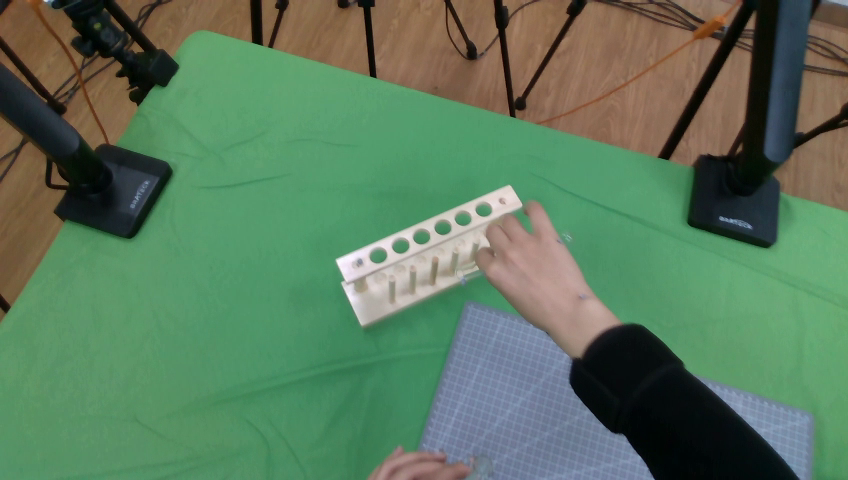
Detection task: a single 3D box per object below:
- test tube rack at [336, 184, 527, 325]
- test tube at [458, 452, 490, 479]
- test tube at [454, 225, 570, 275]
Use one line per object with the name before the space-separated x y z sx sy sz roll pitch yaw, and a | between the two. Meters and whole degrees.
test tube rack | 0.017 0.019 0.771 0.242 0.086 0.066 -23 68 -13
test tube | 0.039 0.210 0.531 0.017 0.151 0.017 2 58 -3
test tube | 0.088 0.012 0.633 0.017 0.150 0.017 20 60 -39
